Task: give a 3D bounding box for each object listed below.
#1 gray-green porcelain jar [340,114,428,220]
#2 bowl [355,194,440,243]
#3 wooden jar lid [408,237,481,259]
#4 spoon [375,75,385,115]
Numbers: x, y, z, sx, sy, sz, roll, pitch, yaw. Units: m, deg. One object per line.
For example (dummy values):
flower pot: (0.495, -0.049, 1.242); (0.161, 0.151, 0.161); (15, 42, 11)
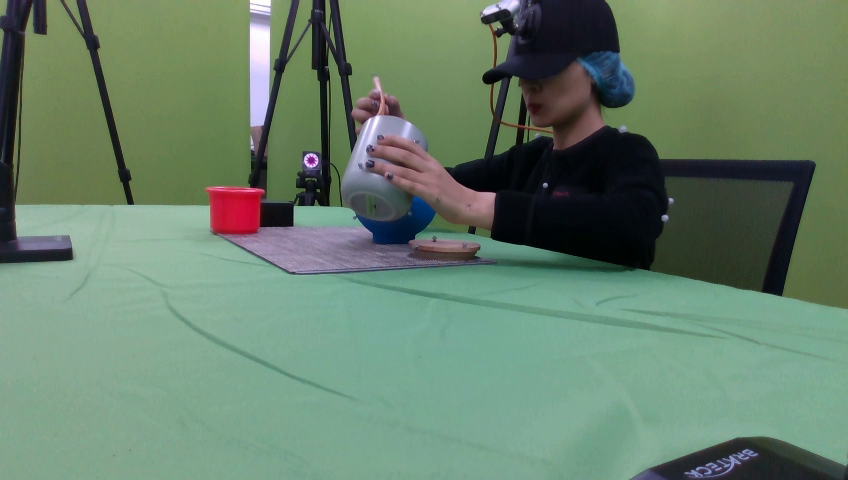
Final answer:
gray-green porcelain jar: (-0.059, -0.101, 0.877); (0.106, 0.126, 0.106); (11, -29, 7)
bowl: (-0.050, -0.038, 1.033); (0.151, 0.077, 0.151); (3, 7, 0)
wooden jar lid: (0.031, 0.012, 0.895); (0.108, 0.020, 0.108); (3, 8, 0)
spoon: (-0.071, -0.217, 0.980); (0.021, 0.042, 0.193); (-24, 40, 21)
